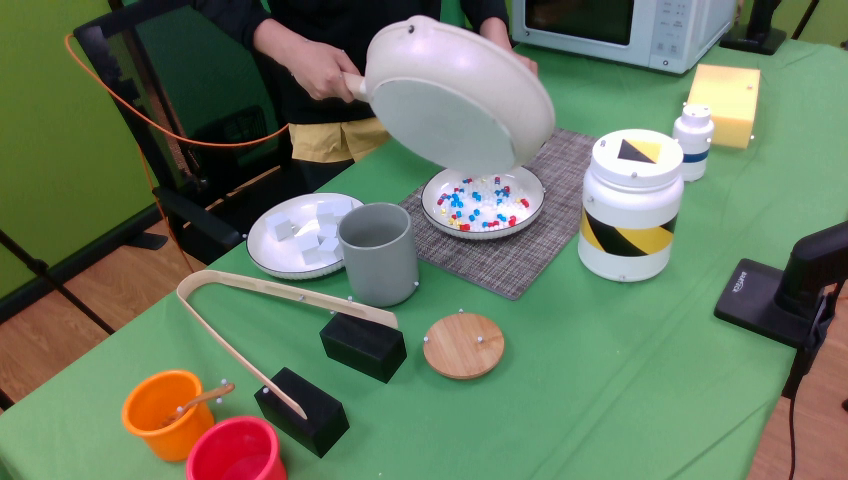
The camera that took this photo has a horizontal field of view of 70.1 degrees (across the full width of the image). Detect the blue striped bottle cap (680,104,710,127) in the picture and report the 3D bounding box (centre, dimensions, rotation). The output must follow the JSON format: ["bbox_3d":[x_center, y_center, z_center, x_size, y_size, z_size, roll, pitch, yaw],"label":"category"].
[{"bbox_3d":[0.443,-0.205,0.989,0.044,0.021,0.044,-1,41,2],"label":"blue striped bottle cap"}]

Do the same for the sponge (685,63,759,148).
[{"bbox_3d":[0.569,-0.263,1.164,0.117,0.061,0.207,12,45,22],"label":"sponge"}]

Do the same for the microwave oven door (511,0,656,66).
[{"bbox_3d":[0.351,-0.540,1.349,0.353,0.245,0.039,24,50,31],"label":"microwave oven door"}]

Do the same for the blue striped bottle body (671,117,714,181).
[{"bbox_3d":[0.449,-0.165,1.022,0.063,0.121,0.063,-5,41,4],"label":"blue striped bottle body"}]

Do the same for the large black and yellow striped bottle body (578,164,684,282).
[{"bbox_3d":[0.291,-0.046,0.859,0.131,0.185,0.130,-4,41,4],"label":"large black and yellow striped bottle body"}]

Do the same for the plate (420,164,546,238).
[{"bbox_3d":[0.099,-0.068,1.017,0.209,0.038,0.208,-4,40,4],"label":"plate"}]

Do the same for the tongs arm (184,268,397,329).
[{"bbox_3d":[-0.202,0.084,0.847,0.382,0.027,0.051,11,44,35],"label":"tongs arm"}]

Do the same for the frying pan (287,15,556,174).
[{"bbox_3d":[-0.040,-0.222,0.924,0.484,0.309,0.102,24,75,33],"label":"frying pan"}]

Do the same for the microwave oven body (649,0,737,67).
[{"bbox_3d":[0.475,-0.602,1.411,0.438,0.261,0.327,23,50,32],"label":"microwave oven body"}]

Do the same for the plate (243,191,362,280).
[{"bbox_3d":[-0.187,-0.005,0.992,0.207,0.039,0.206,-4,41,4],"label":"plate"}]

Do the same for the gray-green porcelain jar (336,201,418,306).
[{"bbox_3d":[-0.064,0.024,0.872,0.106,0.127,0.105,-4,41,4],"label":"gray-green porcelain jar"}]

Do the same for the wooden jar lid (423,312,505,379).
[{"bbox_3d":[0.053,0.142,0.800,0.108,0.021,0.108,-5,39,4],"label":"wooden jar lid"}]

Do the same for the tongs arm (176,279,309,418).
[{"bbox_3d":[-0.255,0.132,0.801,0.028,0.028,0.384,-41,40,-23],"label":"tongs arm"}]

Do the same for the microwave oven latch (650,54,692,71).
[{"bbox_3d":[0.531,-0.386,1.301,0.078,0.029,0.030,24,50,32],"label":"microwave oven latch"}]

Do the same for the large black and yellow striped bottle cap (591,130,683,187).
[{"bbox_3d":[0.282,-0.111,0.803,0.115,0.019,0.114,-3,41,3],"label":"large black and yellow striped bottle cap"}]

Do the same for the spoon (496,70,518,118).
[{"bbox_3d":[0.160,-0.274,1.115,0.021,0.042,0.193,-26,24,34],"label":"spoon"}]

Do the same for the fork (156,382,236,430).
[{"bbox_3d":[-0.262,0.189,0.690,0.018,0.206,0.028,49,43,-7],"label":"fork"}]
